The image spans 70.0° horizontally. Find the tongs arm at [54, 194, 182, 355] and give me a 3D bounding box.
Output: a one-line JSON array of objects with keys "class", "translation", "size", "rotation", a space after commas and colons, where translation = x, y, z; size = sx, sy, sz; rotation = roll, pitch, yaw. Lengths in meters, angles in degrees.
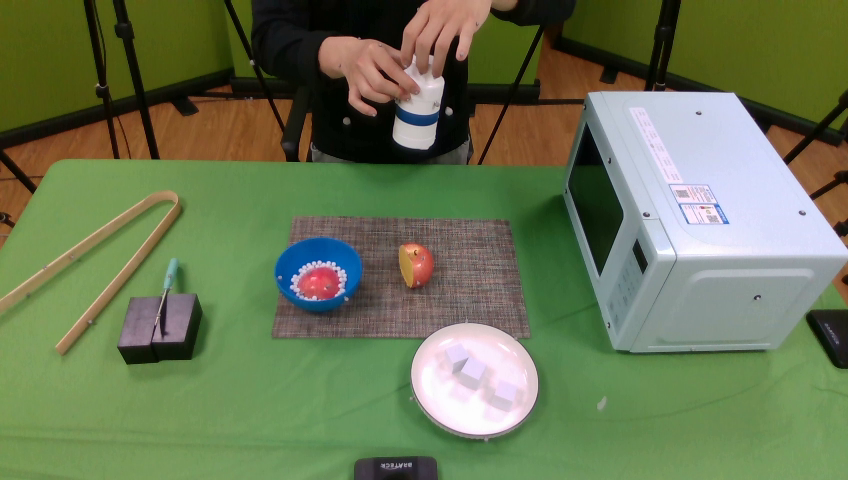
[{"class": "tongs arm", "translation": [-0.544, 0.049, 1.108], "size": [0.028, 0.028, 0.385], "rotation": [12, 46, 9]}]

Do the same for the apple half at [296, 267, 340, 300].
[{"class": "apple half", "translation": [-0.187, 0.070, 1.067], "size": [0.081, 0.033, 0.081], "rotation": [2, 47, -2]}]

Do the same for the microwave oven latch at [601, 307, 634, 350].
[{"class": "microwave oven latch", "translation": [0.331, 0.153, 1.044], "size": [0.030, 0.029, 0.078], "rotation": [-2, 45, -5]}]

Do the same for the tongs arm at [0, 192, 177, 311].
[{"class": "tongs arm", "translation": [-0.618, 0.019, 1.124], "size": [0.050, 0.026, 0.384], "rotation": [24, 47, 16]}]

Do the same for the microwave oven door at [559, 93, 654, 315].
[{"class": "microwave oven door", "translation": [0.327, -0.074, 1.123], "size": [0.039, 0.245, 0.353], "rotation": [-1, 46, -5]}]

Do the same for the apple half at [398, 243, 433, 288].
[{"class": "apple half", "translation": [-0.012, 0.046, 1.115], "size": [0.053, 0.075, 0.080], "rotation": [-11, 44, -19]}]

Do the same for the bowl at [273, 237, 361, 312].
[{"class": "bowl", "translation": [-0.186, 0.074, 1.070], "size": [0.151, 0.077, 0.150], "rotation": [3, 46, -3]}]

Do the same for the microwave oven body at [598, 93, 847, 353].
[{"class": "microwave oven body", "translation": [0.475, -0.041, 1.109], "size": [0.326, 0.261, 0.438], "rotation": [-1, 45, -4]}]

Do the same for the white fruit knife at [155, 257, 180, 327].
[{"class": "white fruit knife", "translation": [-0.440, 0.085, 1.037], "size": [0.016, 0.027, 0.206], "rotation": [10, 26, -19]}]

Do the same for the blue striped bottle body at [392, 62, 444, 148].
[{"class": "blue striped bottle body", "translation": [-0.008, -0.196, 0.855], "size": [0.063, 0.121, 0.062], "rotation": [7, 37, -5]}]

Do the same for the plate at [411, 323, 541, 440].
[{"class": "plate", "translation": [0.082, 0.228, 0.976], "size": [0.208, 0.039, 0.206], "rotation": [2, 45, -2]}]

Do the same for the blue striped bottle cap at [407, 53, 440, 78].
[{"class": "blue striped bottle cap", "translation": [-0.001, -0.237, 0.825], "size": [0.044, 0.021, 0.044], "rotation": [5, 43, -4]}]
